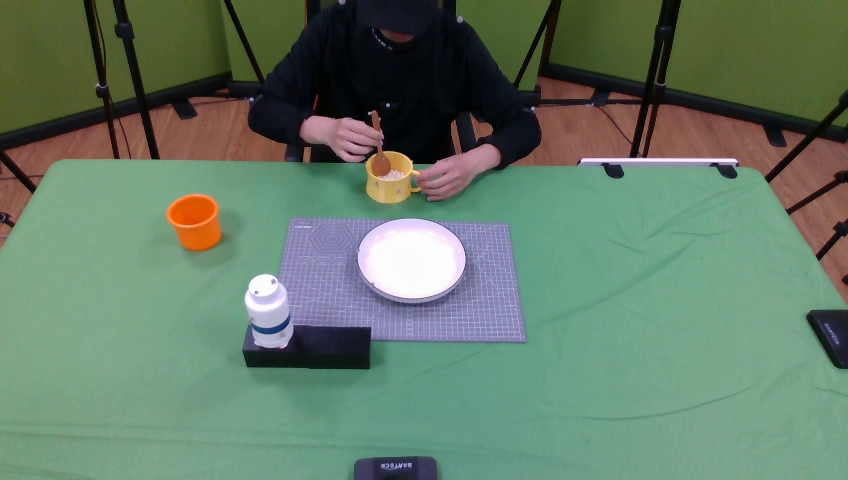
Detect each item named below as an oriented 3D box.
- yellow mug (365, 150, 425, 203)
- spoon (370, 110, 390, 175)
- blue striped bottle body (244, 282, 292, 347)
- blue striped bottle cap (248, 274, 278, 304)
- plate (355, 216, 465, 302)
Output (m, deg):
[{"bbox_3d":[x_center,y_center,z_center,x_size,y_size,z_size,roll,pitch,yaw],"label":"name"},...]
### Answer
[{"bbox_3d":[-0.061,-0.133,1.291,0.131,0.064,0.099,9,46,3],"label":"yellow mug"},{"bbox_3d":[-0.093,-0.195,1.234,0.041,0.194,0.021,-8,62,-4],"label":"spoon"},{"bbox_3d":[-0.241,0.108,0.937,0.063,0.121,0.062,2,46,-2],"label":"blue striped bottle body"},{"bbox_3d":[-0.239,0.072,0.900,0.044,0.021,0.044,4,46,-4],"label":"blue striped bottle cap"},{"bbox_3d":[-0.027,0.039,1.144,0.208,0.039,0.206,2,46,-2],"label":"plate"}]
